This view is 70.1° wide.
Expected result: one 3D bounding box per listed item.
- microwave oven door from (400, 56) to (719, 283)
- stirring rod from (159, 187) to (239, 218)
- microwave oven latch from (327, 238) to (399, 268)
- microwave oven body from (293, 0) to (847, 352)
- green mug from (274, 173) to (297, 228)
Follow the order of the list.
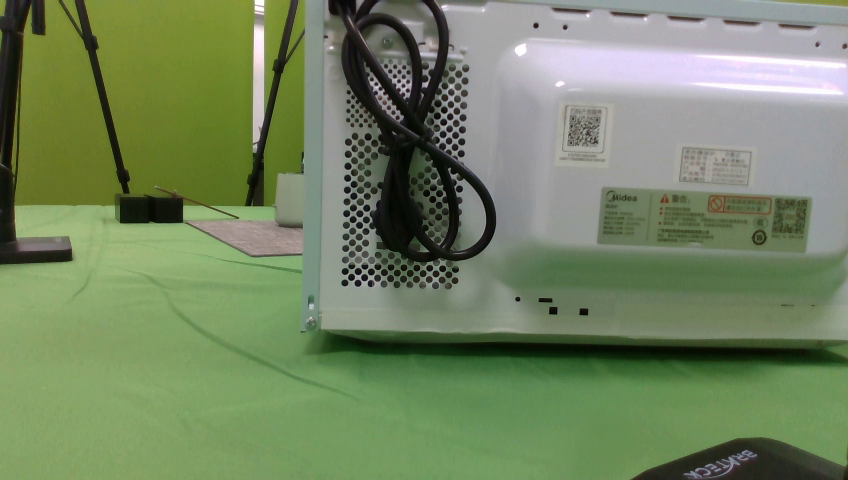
[{"bbox_3d":[0.155,-0.078,0.697,0.356,0.243,0.039,2,8,-5],"label":"microwave oven door"},{"bbox_3d":[-0.472,-0.077,1.278,0.177,0.006,0.014,23,-8,-38],"label":"stirring rod"},{"bbox_3d":[-0.069,0.015,0.694,0.079,0.029,0.030,3,7,-3],"label":"microwave oven latch"},{"bbox_3d":[0.122,-0.055,0.550,0.442,0.260,0.325,3,7,-5],"label":"microwave oven body"},{"bbox_3d":[-0.242,-0.081,1.221,0.092,0.105,0.126,8,9,39],"label":"green mug"}]
